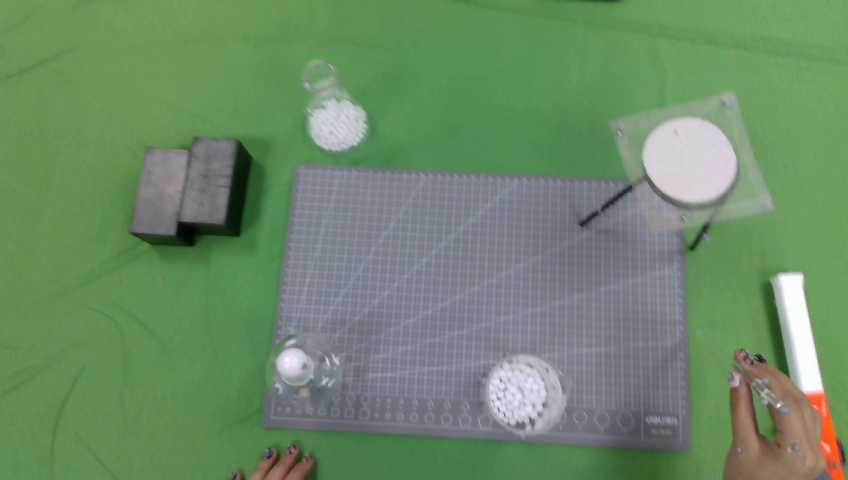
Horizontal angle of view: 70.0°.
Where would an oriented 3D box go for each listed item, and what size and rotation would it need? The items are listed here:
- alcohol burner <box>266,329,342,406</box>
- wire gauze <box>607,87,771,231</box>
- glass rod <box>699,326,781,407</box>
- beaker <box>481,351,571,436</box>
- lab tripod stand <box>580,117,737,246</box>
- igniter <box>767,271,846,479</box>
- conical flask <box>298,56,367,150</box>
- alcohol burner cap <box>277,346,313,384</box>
[{"bbox_3d":[-0.122,0.125,0.602,0.078,0.119,0.077,0,75,0],"label":"alcohol burner"},{"bbox_3d":[0.248,-0.076,0.567,0.125,0.011,0.121,-13,78,-2],"label":"wire gauze"},{"bbox_3d":[0.276,0.108,0.542,0.008,0.199,0.008,1,98,9],"label":"glass rod"},{"bbox_3d":[0.096,0.150,0.600,0.084,0.101,0.073,-15,76,-3],"label":"beaker"},{"bbox_3d":[0.247,-0.056,0.632,0.148,0.132,0.147,0,77,0],"label":"lab tripod stand"},{"bbox_3d":[0.400,0.169,0.630,0.057,0.025,0.275,-1,76,-10],"label":"igniter"},{"bbox_3d":[-0.107,-0.154,0.668,0.075,0.122,0.075,0,76,1],"label":"conical flask"},{"bbox_3d":[-0.122,0.114,0.567,0.034,0.048,0.033,2,68,-5],"label":"alcohol burner cap"}]
